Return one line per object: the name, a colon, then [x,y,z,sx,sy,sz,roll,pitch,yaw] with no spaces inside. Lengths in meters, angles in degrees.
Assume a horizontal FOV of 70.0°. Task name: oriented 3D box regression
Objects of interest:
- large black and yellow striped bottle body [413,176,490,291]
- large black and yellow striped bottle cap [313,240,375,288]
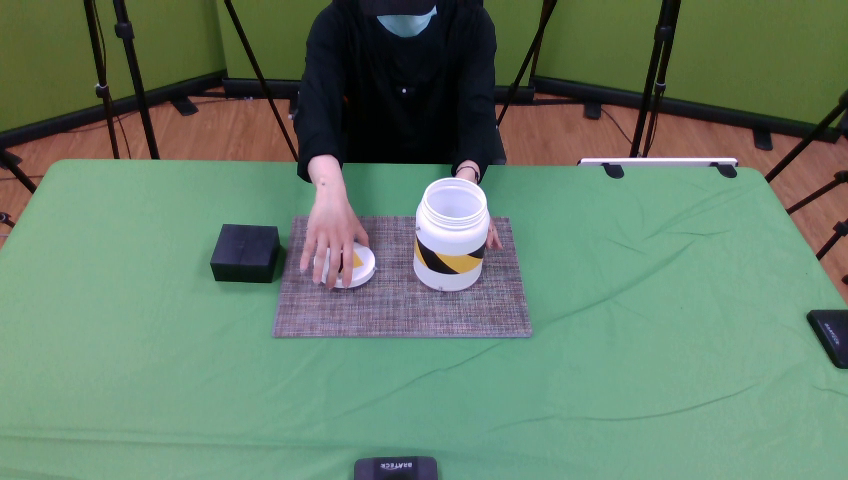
large black and yellow striped bottle body: [0.049,-0.011,1.091,0.131,0.185,0.130,2,46,-2]
large black and yellow striped bottle cap: [-0.149,0.043,1.134,0.115,0.019,0.114,4,42,-3]
